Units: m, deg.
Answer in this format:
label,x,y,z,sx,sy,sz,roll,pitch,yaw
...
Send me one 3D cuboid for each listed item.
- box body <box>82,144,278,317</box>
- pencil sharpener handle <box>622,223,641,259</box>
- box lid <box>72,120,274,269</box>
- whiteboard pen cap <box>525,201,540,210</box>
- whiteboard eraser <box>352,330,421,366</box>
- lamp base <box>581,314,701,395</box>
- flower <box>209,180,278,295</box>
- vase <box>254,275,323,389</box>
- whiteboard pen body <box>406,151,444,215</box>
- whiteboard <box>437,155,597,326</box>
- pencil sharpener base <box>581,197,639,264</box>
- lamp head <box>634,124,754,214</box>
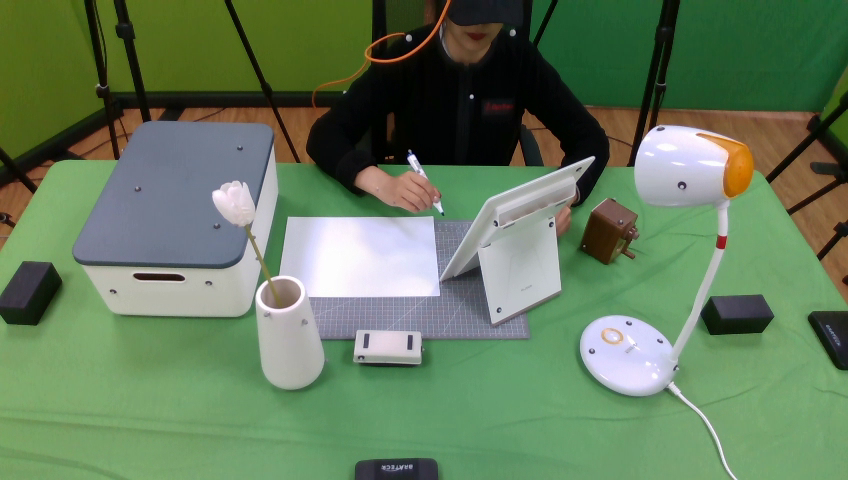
label,x,y,z,sx,sy,sz,roll,pitch,yaw
box body,-0.421,-0.041,1.108,0.254,0.161,0.361,2,46,-3
pencil sharpener handle,0.397,0.003,1.146,0.030,0.068,0.036,37,46,27
box lid,-0.417,-0.094,1.056,0.263,0.015,0.369,1,47,-3
whiteboard pen cap,0.230,-0.074,1.289,0.033,0.018,0.018,8,46,2
whiteboard eraser,-0.061,0.180,1.005,0.113,0.042,0.055,3,48,-3
lamp base,0.361,0.144,0.973,0.178,0.181,0.160,34,53,23
flower,-0.217,0.075,0.871,0.044,0.363,0.038,-29,36,-19
vase,-0.209,0.143,0.921,0.098,0.201,0.097,1,46,-1
whiteboard pen body,0.004,-0.109,1.173,0.017,0.017,0.140,-26,83,-26
whiteboard,0.180,0.023,1.029,0.217,0.306,0.143,-21,70,-23
pencil sharpener base,0.362,-0.017,1.179,0.076,0.107,0.061,37,54,27
lamp head,0.351,-0.089,0.776,0.112,0.113,0.122,-30,30,-28
